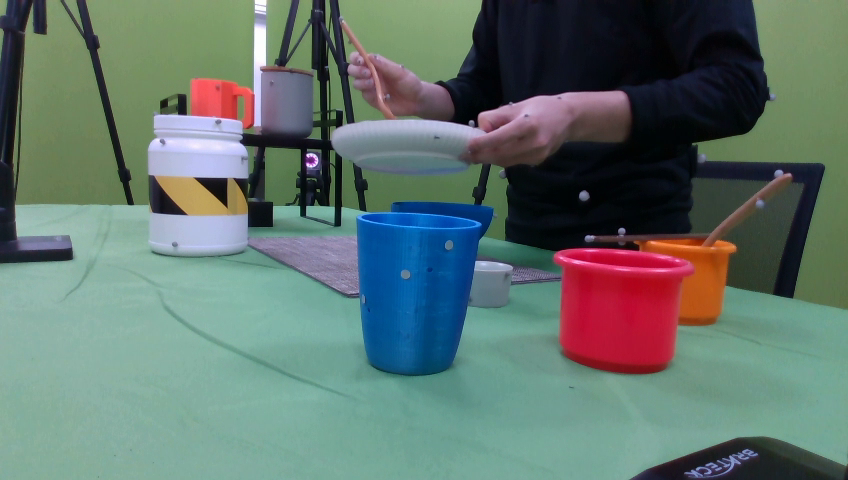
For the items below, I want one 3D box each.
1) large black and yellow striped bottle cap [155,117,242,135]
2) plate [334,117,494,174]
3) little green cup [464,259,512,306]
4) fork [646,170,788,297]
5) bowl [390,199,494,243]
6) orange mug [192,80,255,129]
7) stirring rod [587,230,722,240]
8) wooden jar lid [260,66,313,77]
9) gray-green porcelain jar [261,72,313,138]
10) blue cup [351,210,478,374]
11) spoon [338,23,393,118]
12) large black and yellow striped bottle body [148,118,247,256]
[{"bbox_3d":[-0.313,-0.159,0.845,0.115,0.019,0.115,3,9,0],"label":"large black and yellow striped bottle cap"},{"bbox_3d":[-0.013,-0.116,0.785,0.209,0.038,0.209,1,-3,0],"label":"plate"},{"bbox_3d":[0.057,0.043,0.611,0.061,0.038,0.061,3,8,0],"label":"little green cup"},{"bbox_3d":[0.256,0.004,0.543,0.028,0.018,0.207,3,-36,-10],"label":"fork"},{"bbox_3d":[0.024,-0.016,0.873,0.151,0.077,0.151,3,6,0],"label":"bowl"},{"bbox_3d":[-0.389,-0.257,1.172,0.126,0.100,0.083,-1,6,9],"label":"orange mug"},{"bbox_3d":[0.227,-0.006,0.585,0.177,0.006,0.014,-2,7,-28],"label":"stirring rod"},{"bbox_3d":[-0.283,-0.339,1.244,0.108,0.020,0.108,6,9,-1],"label":"wooden jar lid"},{"bbox_3d":[-0.284,-0.276,1.253,0.106,0.126,0.106,2,8,0],"label":"gray-green porcelain jar"},{"bbox_3d":[-0.009,0.034,0.414,0.093,0.100,0.092,4,8,0],"label":"blue cup"},{"bbox_3d":[-0.077,-0.235,0.861,0.021,0.193,0.042,-28,-14,11],"label":"spoon"},{"bbox_3d":[-0.318,-0.076,0.855,0.131,0.184,0.130,2,7,0],"label":"large black and yellow striped bottle body"}]
